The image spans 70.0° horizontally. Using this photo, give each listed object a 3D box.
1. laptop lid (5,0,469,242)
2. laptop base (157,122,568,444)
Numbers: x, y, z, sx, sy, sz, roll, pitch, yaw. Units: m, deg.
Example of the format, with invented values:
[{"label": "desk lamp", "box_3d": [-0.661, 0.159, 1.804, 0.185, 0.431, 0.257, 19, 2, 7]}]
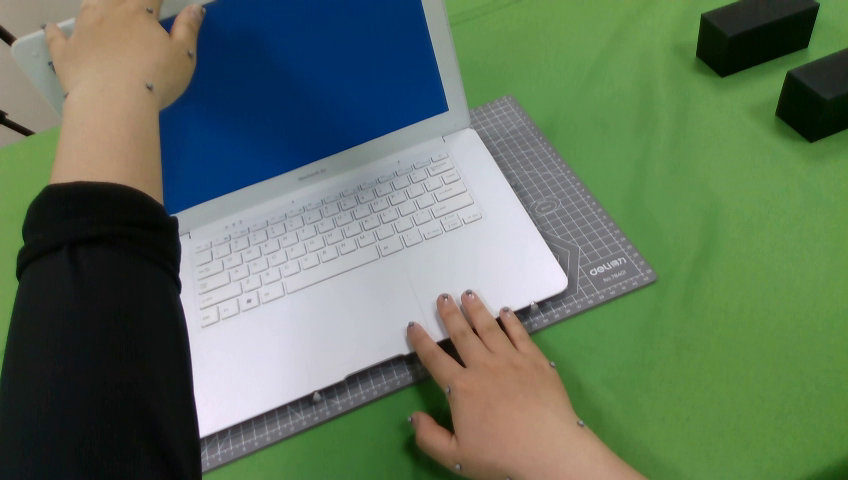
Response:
[{"label": "laptop lid", "box_3d": [-0.142, -0.141, 0.562, 0.357, 0.244, 0.013, -23, 43, -2]}, {"label": "laptop base", "box_3d": [-0.075, 0.022, 0.567, 0.354, 0.023, 0.233, -22, 52, -3]}]
